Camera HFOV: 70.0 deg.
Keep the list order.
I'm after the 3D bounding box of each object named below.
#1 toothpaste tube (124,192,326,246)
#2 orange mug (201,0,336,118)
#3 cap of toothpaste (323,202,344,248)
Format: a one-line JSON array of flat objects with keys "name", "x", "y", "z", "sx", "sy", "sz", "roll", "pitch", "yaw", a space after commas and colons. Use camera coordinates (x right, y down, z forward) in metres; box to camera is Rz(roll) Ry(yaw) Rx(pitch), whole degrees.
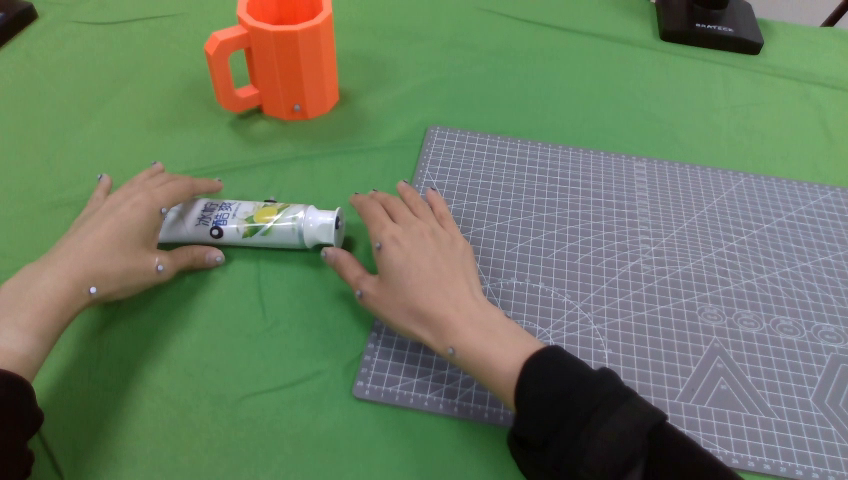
[{"name": "toothpaste tube", "x": -0.150, "y": -0.017, "z": 0.484, "sx": 0.165, "sy": 0.035, "sz": 0.054, "roll": 3, "pitch": 44, "yaw": 3}, {"name": "orange mug", "x": -0.144, "y": -0.175, "z": 0.574, "sx": 0.126, "sy": 0.101, "sz": 0.082, "roll": -27, "pitch": 56, "yaw": -30}, {"name": "cap of toothpaste", "x": -0.072, "y": -0.012, "z": 0.477, "sx": 0.011, "sy": 0.038, "sz": 0.037, "roll": 3, "pitch": 48, "yaw": 4}]
